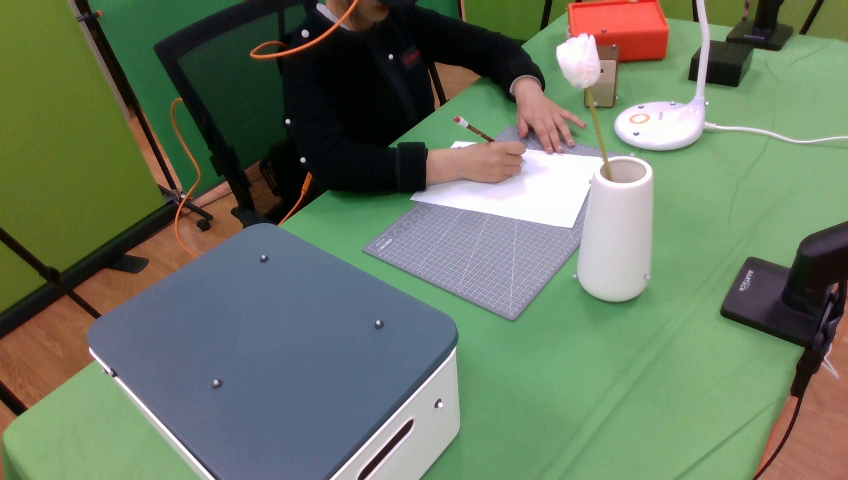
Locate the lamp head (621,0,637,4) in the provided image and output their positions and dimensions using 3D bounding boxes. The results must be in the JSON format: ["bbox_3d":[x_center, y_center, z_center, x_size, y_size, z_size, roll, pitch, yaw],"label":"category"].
[{"bbox_3d":[0.319,-0.453,0.962,0.113,0.123,0.112,20,33,-13],"label":"lamp head"}]

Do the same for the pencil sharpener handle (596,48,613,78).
[{"bbox_3d":[0.382,-0.378,1.276,0.036,0.068,0.030,4,41,20],"label":"pencil sharpener handle"}]

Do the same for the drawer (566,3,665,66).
[{"bbox_3d":[0.447,-0.493,1.440,0.211,0.073,0.194,0,40,10],"label":"drawer"}]

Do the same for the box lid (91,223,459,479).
[{"bbox_3d":[-0.174,0.103,0.667,0.368,0.015,0.264,24,48,35],"label":"box lid"}]

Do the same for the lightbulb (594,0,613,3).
[{"bbox_3d":[0.305,-0.437,0.977,0.060,0.107,0.059,12,43,-11],"label":"lightbulb"}]

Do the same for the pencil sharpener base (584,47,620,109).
[{"bbox_3d":[0.367,-0.336,1.249,0.061,0.107,0.076,6,42,19],"label":"pencil sharpener base"}]

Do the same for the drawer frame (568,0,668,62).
[{"bbox_3d":[0.450,-0.495,1.441,0.213,0.083,0.201,-1,40,9],"label":"drawer frame"}]

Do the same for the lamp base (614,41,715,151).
[{"bbox_3d":[0.449,-0.277,1.106,0.179,0.181,0.160,1,41,9],"label":"lamp base"}]

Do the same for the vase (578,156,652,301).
[{"bbox_3d":[0.261,-0.011,0.812,0.098,0.201,0.097,-4,40,4],"label":"vase"}]

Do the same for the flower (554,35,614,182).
[{"bbox_3d":[0.237,-0.083,0.774,0.044,0.363,0.038,-22,26,7],"label":"flower"}]

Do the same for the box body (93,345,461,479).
[{"bbox_3d":[-0.162,0.170,0.708,0.361,0.161,0.255,25,50,34],"label":"box body"}]

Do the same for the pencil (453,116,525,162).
[{"bbox_3d":[0.121,-0.176,1.074,0.012,0.196,0.012,-23,56,40],"label":"pencil"}]
